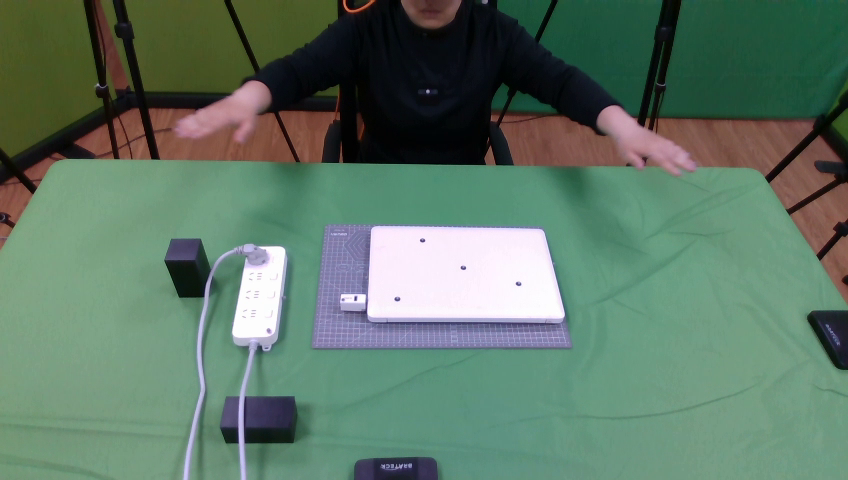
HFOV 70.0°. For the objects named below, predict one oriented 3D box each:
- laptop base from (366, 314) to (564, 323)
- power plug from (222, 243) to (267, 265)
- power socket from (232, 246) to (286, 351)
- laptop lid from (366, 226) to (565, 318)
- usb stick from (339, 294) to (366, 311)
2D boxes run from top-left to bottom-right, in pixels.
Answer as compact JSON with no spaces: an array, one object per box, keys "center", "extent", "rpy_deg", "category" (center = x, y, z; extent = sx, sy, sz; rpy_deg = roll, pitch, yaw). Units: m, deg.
[{"center":[0.071,0.064,1.144],"extent":[0.355,0.023,0.234],"rpy_deg":[1,43,-4],"category":"laptop base"},{"center":[-0.325,0.027,1.112],"extent":[0.072,0.053,0.035],"rpy_deg":[6,46,5],"category":"power plug"},{"center":[-0.290,0.095,1.077],"extent":[0.072,0.033,0.225],"rpy_deg":[-2,46,-4],"category":"power socket"},{"center":[0.072,0.054,1.137],"extent":[0.357,0.013,0.240],"rpy_deg":[2,44,-3],"category":"laptop lid"},{"center":[-0.119,0.110,1.068],"extent":[0.059,0.027,0.021],"rpy_deg":[4,47,-5],"category":"usb stick"}]
